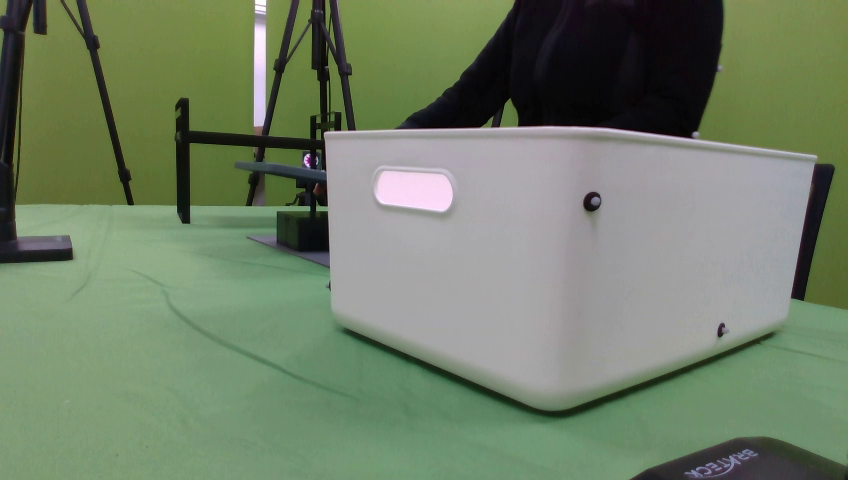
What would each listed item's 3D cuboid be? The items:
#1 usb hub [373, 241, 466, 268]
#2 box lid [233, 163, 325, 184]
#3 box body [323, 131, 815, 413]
[{"bbox_3d":[-0.005,0.018,0.826,0.126,0.025,0.049,-3,9,-39],"label":"usb hub"},{"bbox_3d":[-0.094,-0.086,0.965,0.373,0.015,0.262,6,3,-30],"label":"box lid"},{"bbox_3d":[0.125,0.000,0.510,0.366,0.160,0.253,-4,9,-40],"label":"box body"}]
